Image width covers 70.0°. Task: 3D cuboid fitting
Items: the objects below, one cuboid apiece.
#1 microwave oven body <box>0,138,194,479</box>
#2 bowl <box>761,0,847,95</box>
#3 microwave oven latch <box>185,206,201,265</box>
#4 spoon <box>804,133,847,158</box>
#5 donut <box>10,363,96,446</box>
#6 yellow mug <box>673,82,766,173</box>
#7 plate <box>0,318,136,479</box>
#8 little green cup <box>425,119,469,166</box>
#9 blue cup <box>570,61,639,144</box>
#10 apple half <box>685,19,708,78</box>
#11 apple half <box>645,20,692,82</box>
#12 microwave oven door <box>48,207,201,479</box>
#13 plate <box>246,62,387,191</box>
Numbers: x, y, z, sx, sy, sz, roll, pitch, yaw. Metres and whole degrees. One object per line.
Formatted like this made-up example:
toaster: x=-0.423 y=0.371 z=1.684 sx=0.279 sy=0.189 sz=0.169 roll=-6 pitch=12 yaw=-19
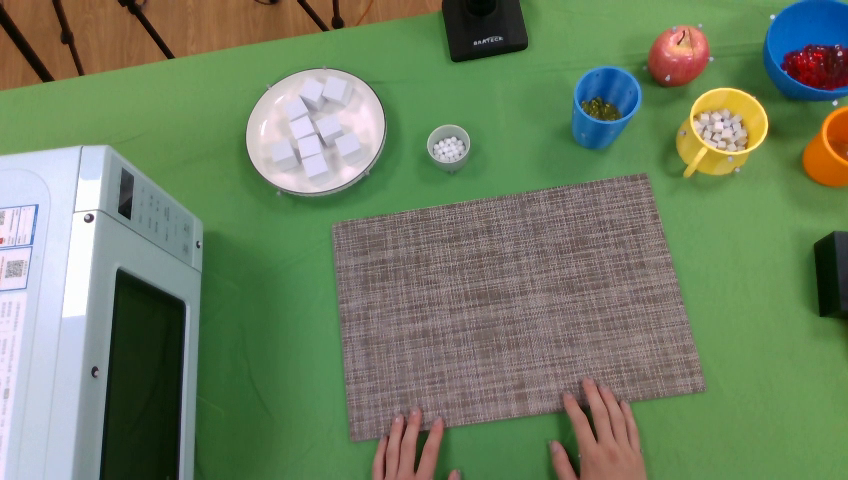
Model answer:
microwave oven body: x=-0.469 y=0.147 z=0.703 sx=0.326 sy=0.262 sz=0.438 roll=-6 pitch=72 yaw=3
bowl: x=0.534 y=-0.256 z=0.837 sx=0.151 sy=0.077 sz=0.150 roll=-2 pitch=73 yaw=6
microwave oven latch: x=-0.327 y=-0.006 z=0.840 sx=0.030 sy=0.030 sz=0.078 roll=-4 pitch=73 yaw=4
spoon: x=0.572 y=-0.112 z=0.750 sx=0.041 sy=0.192 sz=0.022 roll=-50 pitch=118 yaw=-10
donut: x=-0.446 y=0.198 z=0.729 sx=0.099 sy=0.048 sz=0.098 roll=0 pitch=82 yaw=2
yellow mug: x=0.390 y=-0.143 z=0.821 sx=0.099 sy=0.064 sz=0.130 roll=38 pitch=81 yaw=16
plate: x=-0.449 y=0.200 z=0.738 sx=0.209 sy=0.038 sz=0.208 roll=-1 pitch=72 yaw=4
little green cup: x=0.034 y=-0.137 z=0.868 sx=0.061 sy=0.039 sz=0.061 roll=-2 pitch=72 yaw=5
blue cup: x=0.239 y=-0.180 z=0.829 sx=0.092 sy=0.101 sz=0.092 roll=-1 pitch=73 yaw=4
apple half: x=0.382 y=-0.269 z=0.857 sx=0.033 sy=0.082 sz=0.081 roll=-4 pitch=71 yaw=8
apple half: x=0.343 y=-0.266 z=0.861 sx=0.053 sy=0.075 sz=0.080 roll=-4 pitch=75 yaw=8
microwave oven door: x=-0.321 y=0.170 z=0.676 sx=0.039 sy=0.245 sz=0.353 roll=-6 pitch=71 yaw=4
plate: x=-0.156 y=-0.164 z=0.894 sx=0.207 sy=0.039 sz=0.206 roll=-2 pitch=72 yaw=5
